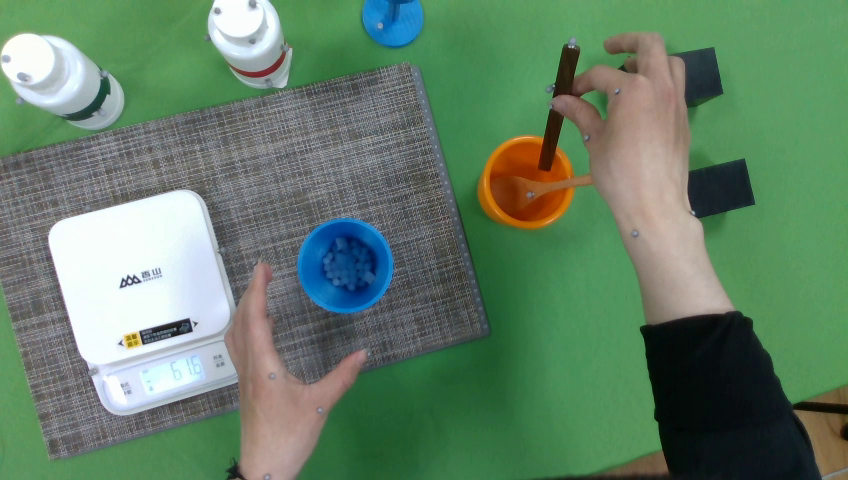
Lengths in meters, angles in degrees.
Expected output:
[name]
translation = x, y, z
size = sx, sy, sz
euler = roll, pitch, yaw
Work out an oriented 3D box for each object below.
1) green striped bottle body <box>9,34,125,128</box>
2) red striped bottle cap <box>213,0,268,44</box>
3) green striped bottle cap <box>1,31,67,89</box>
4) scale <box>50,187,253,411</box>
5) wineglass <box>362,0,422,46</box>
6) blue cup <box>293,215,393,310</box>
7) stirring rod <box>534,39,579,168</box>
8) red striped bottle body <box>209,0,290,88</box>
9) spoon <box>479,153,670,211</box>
[green striped bottle body]
translation = -0.327, -0.145, 0.554
size = 0.063, 0.119, 0.063
euler = 0, 88, -7
[red striped bottle cap]
translation = -0.158, -0.193, 0.522
size = 0.044, 0.018, 0.044
euler = 0, 87, -5
[green striped bottle cap]
translation = -0.321, -0.148, 0.498
size = 0.044, 0.020, 0.044
euler = 0, 88, -5
[scale]
translation = -0.265, 0.058, 0.596
size = 0.149, 0.031, 0.201
euler = -16, 91, -7
[wineglass]
translation = -0.026, -0.244, 0.565
size = 0.074, 0.172, 0.073
euler = 0, 88, -6
[blue cup]
translation = -0.073, 0.021, 0.585
size = 0.093, 0.100, 0.092
euler = 0, 89, -5
[stirring rod]
translation = 0.113, -0.110, 0.527
size = 0.014, 0.177, 0.006
euler = 13, 68, 9
[red striped bottle body]
translation = -0.164, -0.191, 0.574
size = 0.063, 0.119, 0.063
euler = 0, 88, -7
[spoon]
translation = 0.140, -0.059, 0.592
size = 0.022, 0.193, 0.041
euler = -18, 98, -51
